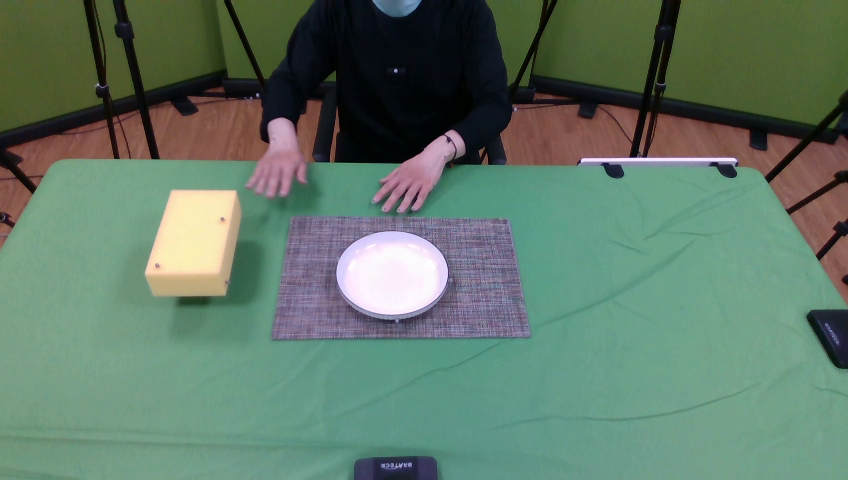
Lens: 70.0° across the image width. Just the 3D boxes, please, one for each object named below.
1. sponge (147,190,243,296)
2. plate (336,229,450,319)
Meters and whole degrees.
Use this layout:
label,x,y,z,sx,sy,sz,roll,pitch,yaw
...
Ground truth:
label,x,y,z,sx,sy,sz,roll,pitch,yaw
sponge,-0.399,0.001,1.071,0.118,0.061,0.205,-1,46,-5
plate,-0.056,0.065,1.113,0.208,0.039,0.206,2,46,-2
